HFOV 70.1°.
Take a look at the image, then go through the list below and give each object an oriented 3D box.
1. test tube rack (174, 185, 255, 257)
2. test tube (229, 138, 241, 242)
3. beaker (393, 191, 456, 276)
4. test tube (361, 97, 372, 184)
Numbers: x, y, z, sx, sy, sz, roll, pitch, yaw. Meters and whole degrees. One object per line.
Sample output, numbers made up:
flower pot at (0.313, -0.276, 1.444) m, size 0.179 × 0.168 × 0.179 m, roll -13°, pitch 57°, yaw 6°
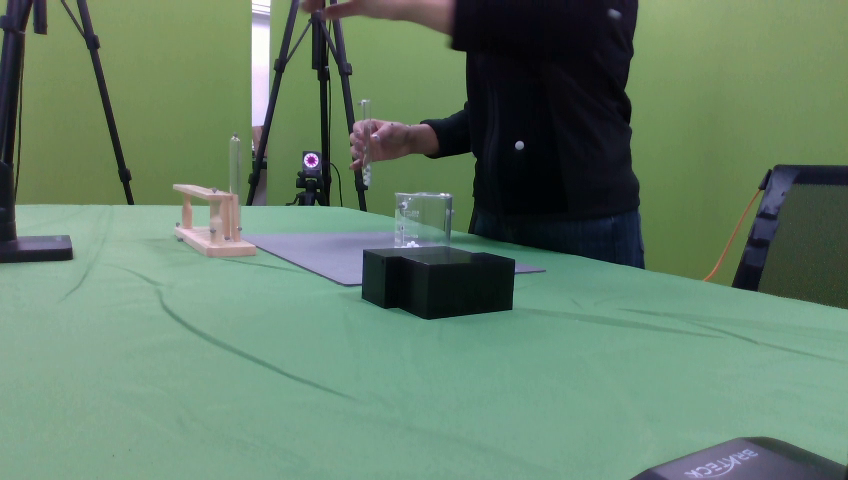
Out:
test tube rack at (-0.324, -0.035, 0.922) m, size 0.067 × 0.085 × 0.241 m, roll -2°, pitch 9°, yaw -32°
test tube at (-0.270, -0.071, 0.866) m, size 0.017 × 0.150 × 0.017 m, roll 2°, pitch 8°, yaw 0°
beaker at (-0.003, -0.010, 0.749) m, size 0.074 × 0.100 × 0.083 m, roll -3°, pitch 9°, yaw -40°
test tube at (-0.099, -0.170, 1.042) m, size 0.017 × 0.150 × 0.017 m, roll 1°, pitch 17°, yaw 0°
